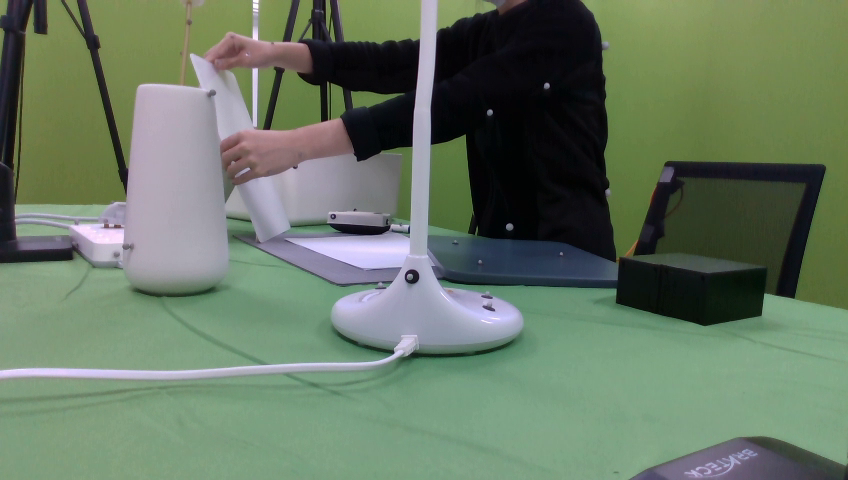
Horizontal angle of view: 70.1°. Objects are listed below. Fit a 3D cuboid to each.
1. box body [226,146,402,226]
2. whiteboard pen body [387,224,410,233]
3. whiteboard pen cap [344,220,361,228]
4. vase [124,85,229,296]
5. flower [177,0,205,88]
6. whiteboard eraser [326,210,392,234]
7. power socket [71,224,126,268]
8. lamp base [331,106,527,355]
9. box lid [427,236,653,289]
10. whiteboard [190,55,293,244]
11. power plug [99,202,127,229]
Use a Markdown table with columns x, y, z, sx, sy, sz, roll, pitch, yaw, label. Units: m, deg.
| x | y | z | sx | sy | sz | roll | pitch | yaw | label |
| --- | --- | --- | --- | --- | --- | --- | --- | --- | --- |
| -0.254 | -0.129 | 1.379 | 0.253 | 0.160 | 0.366 | 8 | 9 | 36 | box body |
| -0.088 | -0.026 | 1.213 | 0.140 | 0.017 | 0.017 | 5 | 8 | 17 | whiteboard pen body |
| -0.145 | -0.032 | 1.230 | 0.033 | 0.018 | 0.018 | 6 | 8 | 17 | whiteboard pen cap |
| -0.244 | -0.047 | 0.598 | 0.098 | 0.200 | 0.098 | 3 | 8 | 0 | vase |
| -0.244 | -0.131 | 0.609 | 0.044 | 0.361 | 0.038 | -4 | -12 | 11 | flower |
| -0.121 | -0.033 | 1.131 | 0.112 | 0.042 | 0.056 | 5 | 9 | 13 | whiteboard eraser |
| -0.409 | 0.004 | 0.793 | 0.072 | 0.032 | 0.225 | -2 | 8 | -37 | power socket |
| 0.006 | -0.012 | 0.478 | 0.161 | 0.180 | 0.179 | 2 | 10 | 2 | lamp base |
| 0.139 | 0.027 | 0.886 | 0.264 | 0.015 | 0.371 | 2 | 7 | -6 | box lid |
| -0.362 | -0.129 | 1.029 | 0.144 | 0.305 | 0.217 | -18 | 7 | 3 | whiteboard |
| -0.415 | -0.026 | 0.848 | 0.073 | 0.052 | 0.035 | 6 | 5 | -28 | power plug |
